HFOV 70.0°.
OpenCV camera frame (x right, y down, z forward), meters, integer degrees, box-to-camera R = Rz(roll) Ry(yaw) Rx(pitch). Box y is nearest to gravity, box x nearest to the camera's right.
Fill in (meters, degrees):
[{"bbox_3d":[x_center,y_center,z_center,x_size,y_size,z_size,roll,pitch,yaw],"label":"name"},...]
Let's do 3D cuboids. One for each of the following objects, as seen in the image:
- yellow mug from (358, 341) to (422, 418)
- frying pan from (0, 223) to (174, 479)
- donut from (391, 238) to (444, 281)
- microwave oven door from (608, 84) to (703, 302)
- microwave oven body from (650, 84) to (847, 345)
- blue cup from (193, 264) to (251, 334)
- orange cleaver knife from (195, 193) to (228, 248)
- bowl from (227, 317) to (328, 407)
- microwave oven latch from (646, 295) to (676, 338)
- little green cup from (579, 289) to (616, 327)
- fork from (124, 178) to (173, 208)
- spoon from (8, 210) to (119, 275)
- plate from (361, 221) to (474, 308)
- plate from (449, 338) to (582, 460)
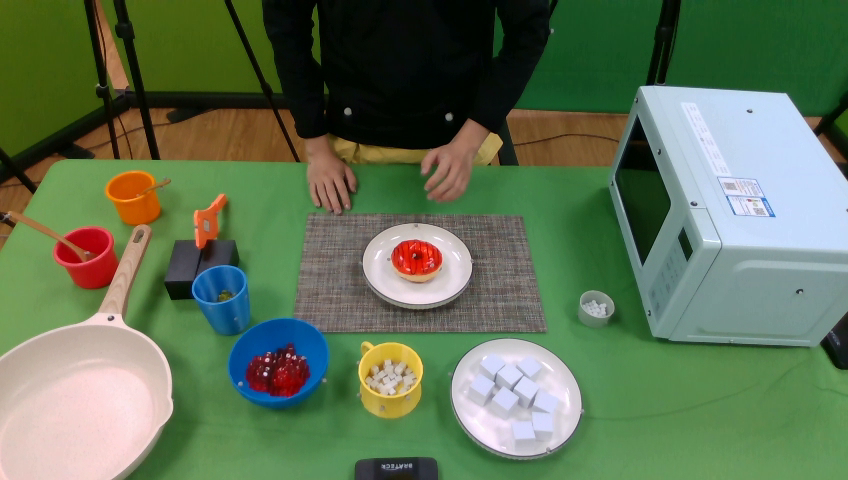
[{"bbox_3d":[-0.063,0.210,0.961,0.100,0.064,0.130,-29,54,-27],"label":"yellow mug"},{"bbox_3d":[-0.505,0.169,0.941,0.307,0.103,0.485,5,54,-1],"label":"frying pan"},{"bbox_3d":[-0.012,0.035,1.128,0.099,0.048,0.098,3,43,-3],"label":"donut"},{"bbox_3d":[0.424,-0.096,1.138,0.039,0.245,0.353,2,46,-1],"label":"microwave oven door"},{"bbox_3d":[0.569,-0.054,1.116,0.326,0.261,0.439,2,46,-1],"label":"microwave oven body"},{"bbox_3d":[-0.331,0.105,1.015,0.092,0.101,0.092,1,45,-1],"label":"blue cup"},{"bbox_3d":[-0.406,-0.041,1.163,0.012,0.077,0.210,0,18,-4],"label":"orange cleaver knife"},{"bbox_3d":[-0.222,0.203,0.947,0.151,0.077,0.150,2,46,-2],"label":"bowl"},{"bbox_3d":[0.412,0.133,1.060,0.030,0.029,0.078,4,46,1],"label":"microwave oven latch"},{"bbox_3d":[0.308,0.124,1.085,0.061,0.039,0.061,2,45,-2],"label":"little green cup"},{"bbox_3d":[-0.525,-0.090,1.153,0.207,0.019,0.028,-18,27,45],"label":"fork"},{"bbox_3d":[-0.629,0.002,1.063,0.195,0.021,0.041,40,39,-26],"label":"spoon"},{"bbox_3d":[-0.011,0.049,1.130,0.209,0.038,0.208,2,46,-2],"label":"plate"},{"bbox_3d":[0.141,0.251,0.955,0.208,0.039,0.206,2,46,-2],"label":"plate"}]
